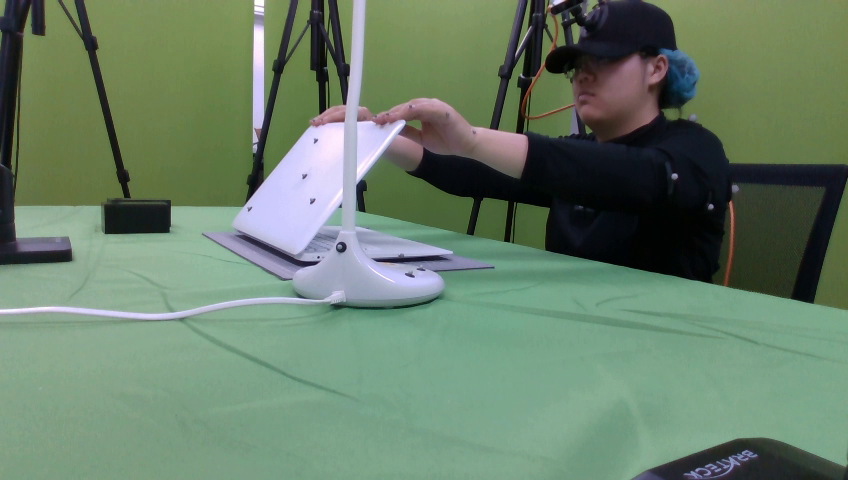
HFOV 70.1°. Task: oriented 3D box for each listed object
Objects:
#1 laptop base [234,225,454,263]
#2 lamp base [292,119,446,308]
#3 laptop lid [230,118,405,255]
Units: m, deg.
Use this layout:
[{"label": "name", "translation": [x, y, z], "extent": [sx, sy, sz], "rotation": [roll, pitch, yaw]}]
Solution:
[{"label": "laptop base", "translation": [-0.143, 0.004, 0.957], "extent": [0.237, 0.023, 0.352], "rotation": [2, 7, -32]}, {"label": "lamp base", "translation": [-0.056, -0.030, 0.616], "extent": [0.160, 0.180, 0.179], "rotation": [3, 10, 8]}, {"label": "laptop lid", "translation": [-0.179, -0.095, 0.920], "extent": [0.013, 0.242, 0.355], "rotation": [44, -14, -29]}]
